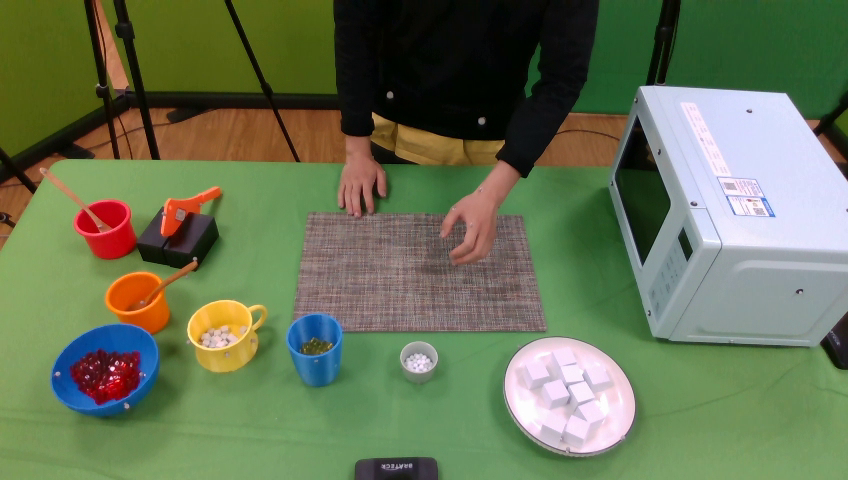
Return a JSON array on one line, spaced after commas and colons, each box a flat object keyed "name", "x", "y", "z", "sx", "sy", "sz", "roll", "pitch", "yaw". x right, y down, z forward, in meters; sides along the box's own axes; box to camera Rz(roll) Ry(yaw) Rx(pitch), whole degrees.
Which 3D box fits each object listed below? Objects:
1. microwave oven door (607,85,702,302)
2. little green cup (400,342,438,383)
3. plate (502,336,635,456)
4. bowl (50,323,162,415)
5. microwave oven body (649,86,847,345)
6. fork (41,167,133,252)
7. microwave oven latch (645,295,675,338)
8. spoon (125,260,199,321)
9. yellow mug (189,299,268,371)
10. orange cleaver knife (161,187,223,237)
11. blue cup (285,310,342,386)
[{"name": "microwave oven door", "x": 0.423, "y": -0.094, "z": 1.140, "sx": 0.039, "sy": 0.245, "sz": 0.353, "roll": 2, "pitch": 46, "yaw": -1}, {"name": "little green cup", "x": -0.009, "y": 0.202, "z": 0.991, "sx": 0.061, "sy": 0.039, "sz": 0.061, "roll": 2, "pitch": 47, "yaw": -2}, {"name": "plate", "x": 0.225, "y": 0.248, "z": 0.963, "sx": 0.208, "sy": 0.039, "sz": 0.206, "roll": 2, "pitch": 46, "yaw": -2}, {"name": "bowl", "x": -0.472, "y": 0.209, "z": 0.924, "sx": 0.151, "sy": 0.077, "sz": 0.150, "roll": 3, "pitch": 45, "yaw": -2}, {"name": "microwave oven body", "x": 0.568, "y": -0.053, "z": 1.118, "sx": 0.326, "sy": 0.261, "sz": 0.439, "roll": 2, "pitch": 45, "yaw": -1}, {"name": "fork", "x": -0.624, "y": -0.056, "z": 1.121, "sx": 0.208, "sy": 0.018, "sz": 0.028, "roll": 49, "pitch": 51, "yaw": -15}, {"name": "microwave oven latch", "x": 0.412, "y": 0.134, "z": 1.061, "sx": 0.030, "sy": 0.029, "sz": 0.078, "roll": 3, "pitch": 45, "yaw": 0}, {"name": "spoon", "x": -0.434, "y": 0.083, "z": 0.999, "sx": 0.022, "sy": 0.194, "sz": 0.041, "roll": 35, "pitch": 34, "yaw": -34}, {"name": "yellow mug", "x": -0.316, "y": 0.148, "z": 1.002, "sx": 0.131, "sy": 0.064, "sz": 0.099, "roll": -33, "pitch": 56, "yaw": -31}, {"name": "orange cleaver knife", "x": -0.448, "y": -0.058, "z": 1.181, "sx": 0.012, "sy": 0.077, "sz": 0.211, "roll": 13, "pitch": 17, "yaw": 6}, {"name": "blue cup", "x": -0.170, "y": 0.179, "z": 0.958, "sx": 0.093, "sy": 0.101, "sz": 0.092, "roll": 2, "pitch": 44, "yaw": -1}]
